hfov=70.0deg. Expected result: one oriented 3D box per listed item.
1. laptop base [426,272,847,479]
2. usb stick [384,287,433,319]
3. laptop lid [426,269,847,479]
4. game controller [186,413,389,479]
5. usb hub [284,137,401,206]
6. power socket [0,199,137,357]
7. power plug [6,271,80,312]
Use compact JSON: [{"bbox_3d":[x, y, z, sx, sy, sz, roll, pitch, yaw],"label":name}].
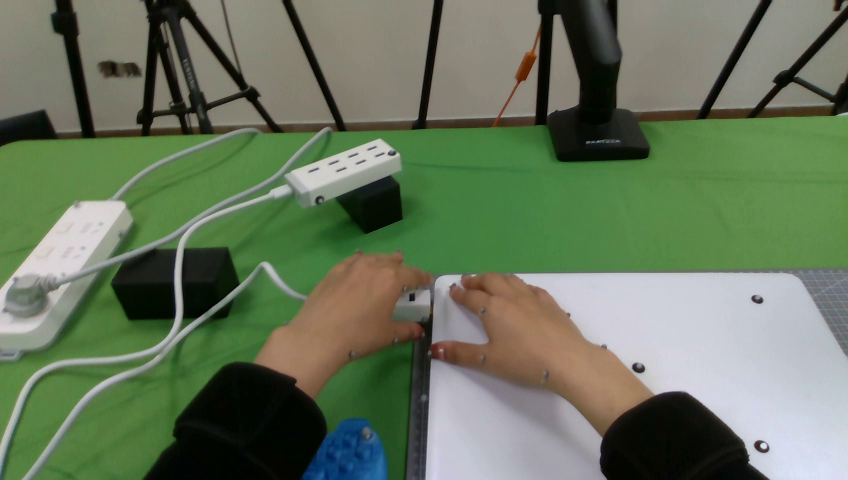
[{"bbox_3d":[0.181,0.116,0.519,0.354,0.023,0.233,-1,43,3],"label":"laptop base"},{"bbox_3d":[-0.009,0.060,0.576,0.059,0.027,0.021,3,40,-6],"label":"usb stick"},{"bbox_3d":[0.180,0.108,0.510,0.356,0.013,0.239,0,42,5],"label":"laptop lid"},{"bbox_3d":[-0.101,0.173,0.447,0.155,0.052,0.096,-1,36,3],"label":"game controller"},{"bbox_3d":[-0.091,-0.079,0.689,0.125,0.025,0.049,-26,46,-23],"label":"usb hub"},{"bbox_3d":[-0.386,0.028,0.651,0.072,0.033,0.224,1,40,4],"label":"power socket"},{"bbox_3d":[-0.362,0.057,0.577,0.072,0.053,0.035,9,41,11],"label":"power plug"}]
